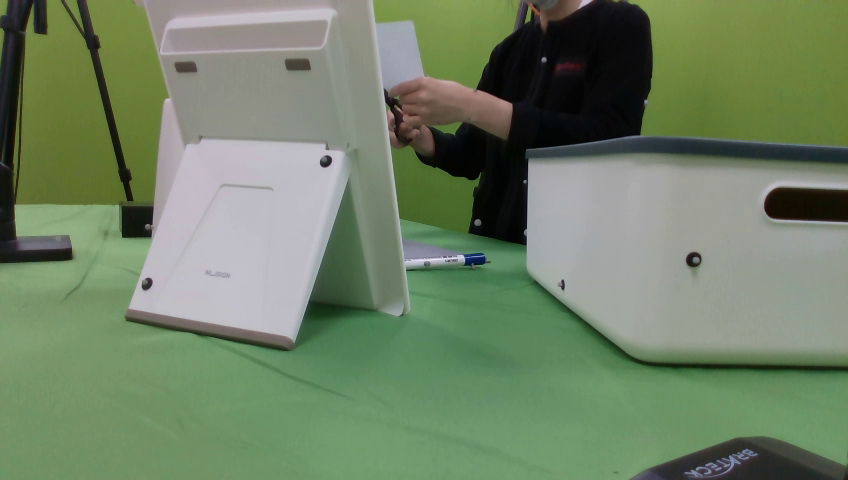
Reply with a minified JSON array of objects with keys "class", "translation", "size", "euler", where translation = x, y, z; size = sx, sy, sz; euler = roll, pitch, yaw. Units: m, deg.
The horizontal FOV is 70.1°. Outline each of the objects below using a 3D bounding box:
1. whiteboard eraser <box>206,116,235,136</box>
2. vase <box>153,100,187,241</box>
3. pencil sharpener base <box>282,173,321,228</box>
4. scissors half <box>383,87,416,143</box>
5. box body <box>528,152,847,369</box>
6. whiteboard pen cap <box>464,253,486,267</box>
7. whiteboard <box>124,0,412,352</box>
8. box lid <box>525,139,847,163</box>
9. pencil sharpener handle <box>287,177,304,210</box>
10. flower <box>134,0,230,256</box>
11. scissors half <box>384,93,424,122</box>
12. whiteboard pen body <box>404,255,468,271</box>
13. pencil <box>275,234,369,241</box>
[{"class":"whiteboard eraser","translation":[-0.450,-0.252,1.335],"size":[0.056,0.042,0.112],"euler":[1,7,-22]},{"class":"vase","translation":[-0.278,-0.066,0.736],"size":[0.098,0.200,0.098],"euler":[2,9,0]},{"class":"pencil sharpener base","translation":[-0.247,-0.080,1.212],"size":[0.061,0.107,0.076],"euler":[-2,5,-28]},{"class":"scissors half","translation":[-0.059,-0.230,1.065],"size":[0.012,0.040,0.176],"euler":[18,-22,35]},{"class":"box body","translation":[0.258,-0.005,0.591],"size":[0.254,0.160,0.363],"euler":[2,7,-4]},{"class":"whiteboard pen cap","translation":[0.066,0.027,0.818],"size":[0.033,0.018,0.018],"euler":[-6,10,-24]},{"class":"whiteboard","translation":[-0.151,-0.049,0.472],"size":[0.216,0.305,0.144],"euler":[6,27,24]},{"class":"box lid","translation":[0.261,-0.078,0.580],"size":[0.264,0.015,0.371],"euler":[2,7,-4]},{"class":"pencil sharpener handle","translation":[-0.269,-0.096,1.257],"size":[0.036,0.067,0.030],"euler":[-8,8,-27]},{"class":"flower","translation":[-0.282,-0.147,0.713],"size":[0.038,0.362,0.044],"euler":[-23,24,-31]},{"class":"scissors half","translation":[-0.050,-0.250,1.068],"size":[0.013,0.040,0.176],"euler":[12,0,34]},{"class":"whiteboard pen body","translation":[0.013,0.030,0.792],"size":[0.141,0.017,0.017],"euler":[-3,9,-24]},{"class":"pencil","translation":[-0.169,-0.006,1.036],"size":[0.195,0.012,0.012],"euler":[-2,9,-45]}]
